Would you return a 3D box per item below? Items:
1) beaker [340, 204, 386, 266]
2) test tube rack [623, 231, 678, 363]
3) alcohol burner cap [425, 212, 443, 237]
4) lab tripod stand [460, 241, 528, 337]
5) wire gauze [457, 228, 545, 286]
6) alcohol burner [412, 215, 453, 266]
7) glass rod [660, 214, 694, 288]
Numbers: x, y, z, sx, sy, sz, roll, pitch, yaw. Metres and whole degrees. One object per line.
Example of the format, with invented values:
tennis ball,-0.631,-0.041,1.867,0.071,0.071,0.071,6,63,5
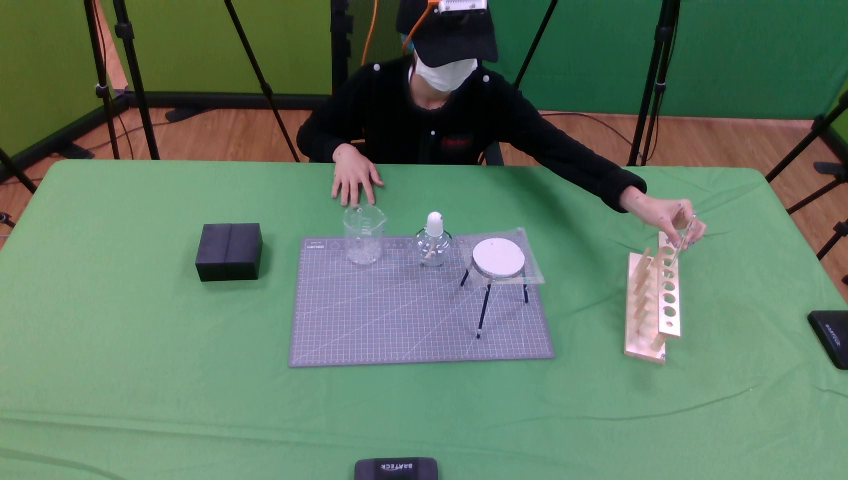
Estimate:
beaker,-0.114,-0.008,1.140,0.084,0.101,0.073,-3,46,-8
test tube rack,0.410,0.094,1.096,0.066,0.085,0.241,13,47,9
alcohol burner cap,0.019,-0.032,1.114,0.034,0.048,0.033,0,49,0
lab tripod stand,0.122,0.075,1.054,0.148,0.132,0.147,3,44,-3
wire gauze,0.126,0.029,1.006,0.125,0.011,0.120,-4,46,-10
alcohol burner,0.017,-0.006,1.139,0.078,0.119,0.077,2,48,-2
glass rod,0.437,0.030,1.057,0.008,0.201,0.008,1,44,-1
